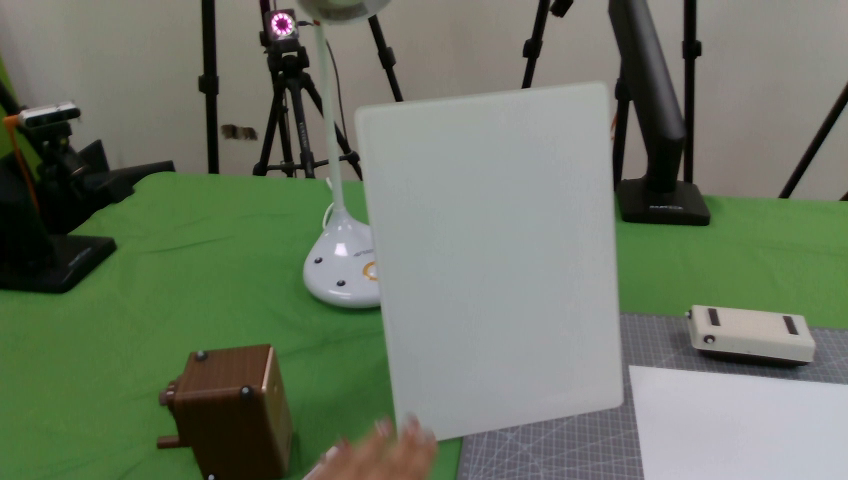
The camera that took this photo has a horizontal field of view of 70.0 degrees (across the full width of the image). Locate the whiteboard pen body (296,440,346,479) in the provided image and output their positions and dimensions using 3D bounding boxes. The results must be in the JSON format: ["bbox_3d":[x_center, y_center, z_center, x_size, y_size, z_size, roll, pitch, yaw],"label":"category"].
[{"bbox_3d":[-0.112,0.213,0.491,0.017,0.017,0.140,17,35,29],"label":"whiteboard pen body"}]

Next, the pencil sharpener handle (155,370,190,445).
[{"bbox_3d":[-0.213,0.142,0.505,0.031,0.068,0.035,-5,20,-3],"label":"pencil sharpener handle"}]

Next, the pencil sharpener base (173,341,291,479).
[{"bbox_3d":[-0.162,0.147,0.518,0.077,0.108,0.061,-5,32,-3],"label":"pencil sharpener base"}]

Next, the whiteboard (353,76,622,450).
[{"bbox_3d":[0.056,0.012,0.590,0.217,0.306,0.143,-8,13,-8],"label":"whiteboard"}]

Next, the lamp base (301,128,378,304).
[{"bbox_3d":[-0.088,-0.039,0.747,0.161,0.181,0.177,-24,35,-30],"label":"lamp base"}]

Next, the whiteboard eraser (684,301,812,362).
[{"bbox_3d":[0.332,0.095,0.627,0.112,0.042,0.055,5,34,13],"label":"whiteboard eraser"}]

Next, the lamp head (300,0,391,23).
[{"bbox_3d":[-0.084,-0.278,0.556,0.113,0.113,0.121,-17,59,-22],"label":"lamp head"}]
